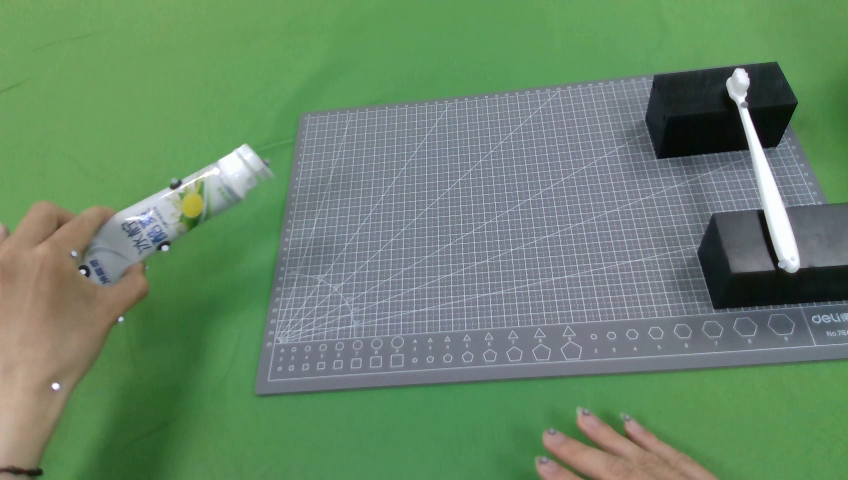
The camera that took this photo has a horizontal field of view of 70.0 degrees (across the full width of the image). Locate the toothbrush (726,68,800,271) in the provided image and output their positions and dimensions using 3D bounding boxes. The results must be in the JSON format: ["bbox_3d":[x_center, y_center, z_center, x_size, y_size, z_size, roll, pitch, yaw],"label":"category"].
[{"bbox_3d":[0.243,-0.058,0.436,0.014,0.017,0.180,5,58,-1],"label":"toothbrush"}]

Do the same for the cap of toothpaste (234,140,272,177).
[{"bbox_3d":[-0.136,-0.063,0.480,0.011,0.038,0.037,-44,59,-9],"label":"cap of toothpaste"}]

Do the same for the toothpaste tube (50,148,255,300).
[{"bbox_3d":[-0.204,-0.020,0.473,0.165,0.034,0.055,-33,93,-6],"label":"toothpaste tube"}]
